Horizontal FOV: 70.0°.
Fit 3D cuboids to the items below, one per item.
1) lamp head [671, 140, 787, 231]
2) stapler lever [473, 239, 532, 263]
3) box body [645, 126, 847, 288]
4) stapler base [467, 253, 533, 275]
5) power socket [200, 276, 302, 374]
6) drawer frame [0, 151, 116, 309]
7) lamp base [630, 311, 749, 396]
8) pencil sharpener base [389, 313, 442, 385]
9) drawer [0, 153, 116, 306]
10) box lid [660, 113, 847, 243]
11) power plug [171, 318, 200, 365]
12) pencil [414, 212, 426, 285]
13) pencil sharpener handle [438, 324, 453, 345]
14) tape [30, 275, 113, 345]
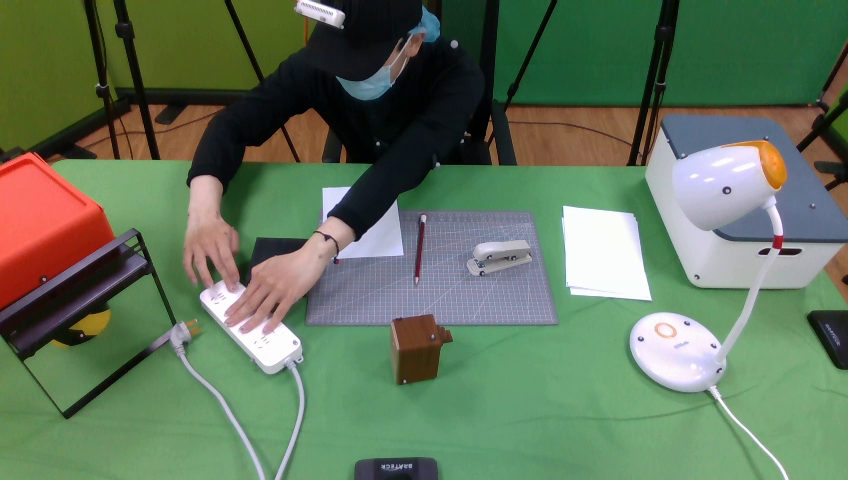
[{"bbox_3d":[0.415,-0.078,0.811,0.113,0.123,0.112,12,70,-37],"label":"lamp head"},{"bbox_3d":[0.150,0.017,1.155,0.118,0.040,0.026,-13,49,-17],"label":"stapler lever"},{"bbox_3d":[0.625,-0.080,1.222,0.254,0.161,0.361,0,46,-3],"label":"box body"},{"bbox_3d":[0.147,0.034,1.172,0.131,0.024,0.041,-12,49,-17],"label":"stapler base"},{"bbox_3d":[-0.298,0.141,1.034,0.225,0.033,0.072,37,55,27],"label":"power socket"},{"bbox_3d":[-0.604,-0.013,0.876,0.201,0.083,0.213,31,52,23],"label":"drawer frame"},{"bbox_3d":[0.447,0.143,0.983,0.161,0.181,0.178,-24,55,-24],"label":"lamp base"},{"bbox_3d":[-0.013,0.175,0.971,0.077,0.107,0.061,-8,47,-11],"label":"pencil sharpener base"},{"bbox_3d":[-0.601,-0.015,0.880,0.193,0.073,0.211,32,53,23],"label":"drawer"},{"bbox_3d":[0.628,-0.133,1.171,0.263,0.015,0.369,1,46,-3],"label":"box lid"},{"bbox_3d":[-0.393,0.167,1.015,0.053,0.035,0.072,-27,93,-29],"label":"power plug"},{"bbox_3d":[-0.008,0.014,1.190,0.012,0.012,0.193,5,47,1],"label":"pencil"},{"bbox_3d":[0.036,0.155,0.976,0.031,0.068,0.036,-8,69,-11],"label":"pencil sharpener handle"},{"bbox_3d":[-0.593,0.117,1.021,0.117,0.053,0.116,3,46,-2],"label":"tape"}]
